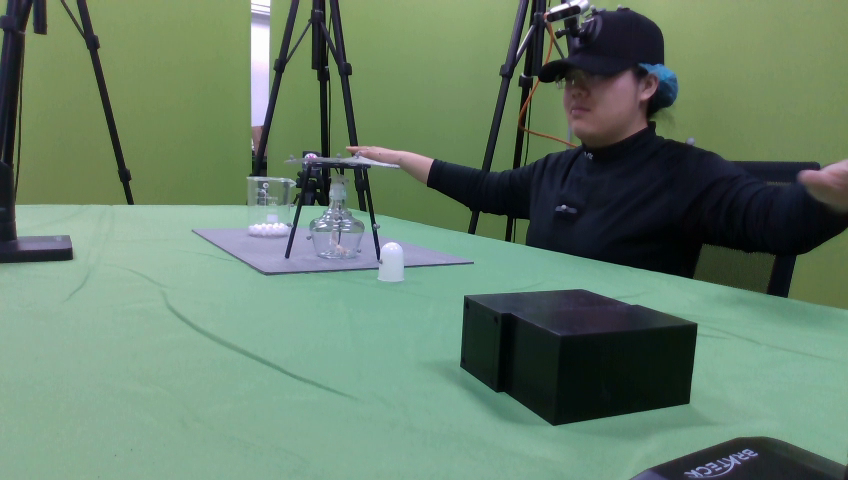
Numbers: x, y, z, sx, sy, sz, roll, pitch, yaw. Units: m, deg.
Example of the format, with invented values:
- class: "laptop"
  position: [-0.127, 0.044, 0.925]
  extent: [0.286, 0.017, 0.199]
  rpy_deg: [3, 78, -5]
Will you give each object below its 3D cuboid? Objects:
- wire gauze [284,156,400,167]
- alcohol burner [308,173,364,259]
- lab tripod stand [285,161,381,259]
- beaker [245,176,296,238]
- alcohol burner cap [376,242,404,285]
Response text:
- class: "wire gauze"
  position: [-0.115, -0.110, 0.835]
  extent: [0.126, 0.011, 0.121]
  rpy_deg: [-3, 10, -30]
- class: "alcohol burner"
  position: [-0.121, -0.033, 0.843]
  extent: [0.078, 0.119, 0.078]
  rpy_deg: [3, 5, 0]
- class: "lab tripod stand"
  position: [-0.123, -0.043, 0.842]
  extent: [0.148, 0.131, 0.148]
  rpy_deg: [3, 9, 0]
- class: "beaker"
  position: [-0.263, -0.057, 1.034]
  extent: [0.084, 0.100, 0.074]
  rpy_deg: [1, 8, -17]
- class: "alcohol burner cap"
  position: [-0.039, 0.026, 0.710]
  extent: [0.034, 0.048, 0.034]
  rpy_deg: [3, 6, 0]
